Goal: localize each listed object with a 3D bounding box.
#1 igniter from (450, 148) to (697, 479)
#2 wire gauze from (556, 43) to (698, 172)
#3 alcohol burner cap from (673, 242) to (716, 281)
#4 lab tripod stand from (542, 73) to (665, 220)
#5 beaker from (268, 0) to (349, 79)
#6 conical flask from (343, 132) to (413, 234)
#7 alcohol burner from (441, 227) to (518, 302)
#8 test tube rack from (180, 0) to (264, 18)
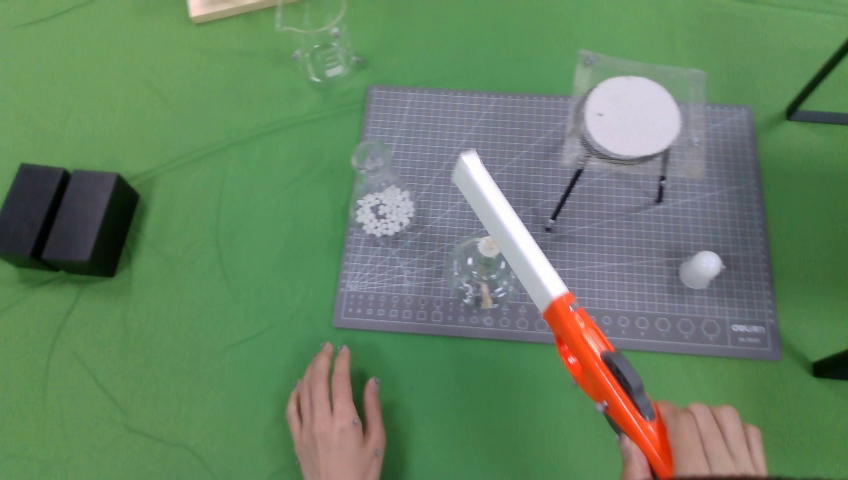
[{"bbox_3d":[0.095,0.049,0.418,0.025,0.057,0.274,-23,68,-22],"label":"igniter"},{"bbox_3d":[0.187,-0.121,0.548,0.121,0.011,0.124,9,70,3],"label":"wire gauze"},{"bbox_3d":[0.277,0.019,0.614,0.034,0.048,0.033,-1,69,2],"label":"alcohol burner cap"},{"bbox_3d":[0.181,-0.093,0.610,0.148,0.132,0.147,0,67,0],"label":"lab tripod stand"},{"bbox_3d":[-0.130,-0.240,0.695,0.084,0.101,0.073,-36,72,-11],"label":"beaker"},{"bbox_3d":[-0.052,-0.061,0.609,0.075,0.123,0.075,-1,68,2],"label":"conical flask"},{"bbox_3d":[0.056,0.017,0.582,0.078,0.120,0.077,0,67,0],"label":"alcohol burner"},{"bbox_3d":[-0.195,-0.356,0.749,0.242,0.086,0.066,-15,69,-5],"label":"test tube rack"}]
